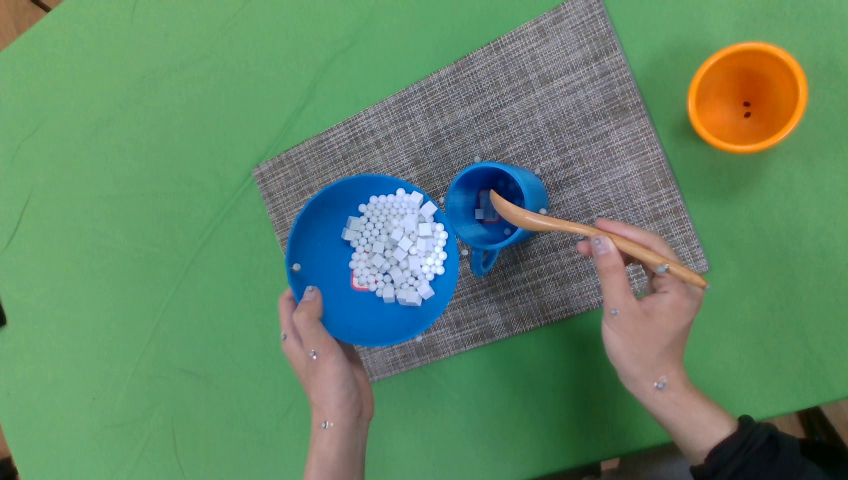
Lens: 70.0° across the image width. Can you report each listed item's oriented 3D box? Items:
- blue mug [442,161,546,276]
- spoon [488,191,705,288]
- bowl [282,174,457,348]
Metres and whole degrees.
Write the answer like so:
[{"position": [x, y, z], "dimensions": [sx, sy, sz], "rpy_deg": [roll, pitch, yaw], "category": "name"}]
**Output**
[{"position": [0.069, -0.019, 0.607], "dimensions": [0.082, 0.106, 0.117], "rpy_deg": [18, 101, 18], "category": "blue mug"}, {"position": [0.124, -0.004, 0.473], "dimensions": [0.192, 0.042, 0.021], "rpy_deg": [21, 75, 39], "category": "spoon"}, {"position": [-0.052, 0.022, 0.548], "dimensions": [0.152, 0.077, 0.151], "rpy_deg": [2, 81, -14], "category": "bowl"}]
